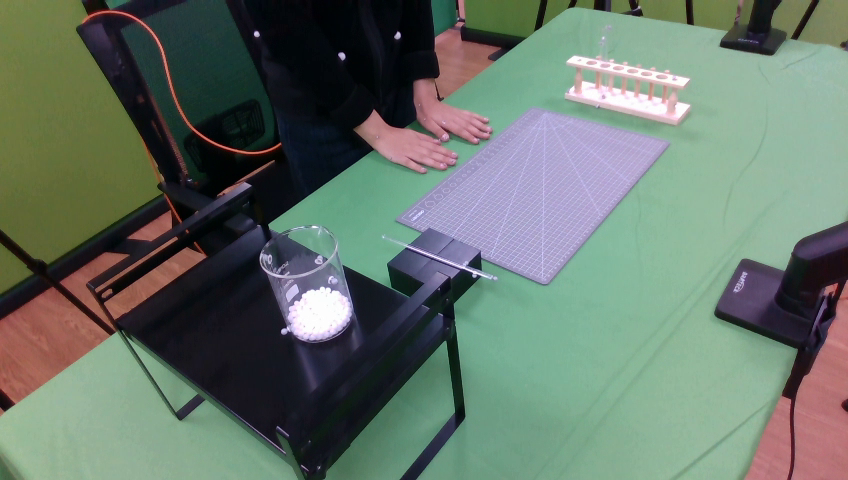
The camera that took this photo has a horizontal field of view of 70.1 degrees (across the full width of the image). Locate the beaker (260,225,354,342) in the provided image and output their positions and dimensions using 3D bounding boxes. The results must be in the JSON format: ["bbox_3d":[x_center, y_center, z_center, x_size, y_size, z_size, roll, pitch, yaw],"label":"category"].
[{"bbox_3d":[-0.111,0.045,0.601,0.073,0.101,0.084,7,42,17],"label":"beaker"}]

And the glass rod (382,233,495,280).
[{"bbox_3d":[0.017,0.023,0.882,0.198,0.008,0.008,21,48,29],"label":"glass rod"}]

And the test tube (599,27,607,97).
[{"bbox_3d":[0.358,-0.353,1.211,0.017,0.151,0.017,-8,43,8],"label":"test tube"}]

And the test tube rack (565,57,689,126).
[{"bbox_3d":[0.411,-0.311,1.230,0.240,0.085,0.067,24,49,32],"label":"test tube rack"}]
